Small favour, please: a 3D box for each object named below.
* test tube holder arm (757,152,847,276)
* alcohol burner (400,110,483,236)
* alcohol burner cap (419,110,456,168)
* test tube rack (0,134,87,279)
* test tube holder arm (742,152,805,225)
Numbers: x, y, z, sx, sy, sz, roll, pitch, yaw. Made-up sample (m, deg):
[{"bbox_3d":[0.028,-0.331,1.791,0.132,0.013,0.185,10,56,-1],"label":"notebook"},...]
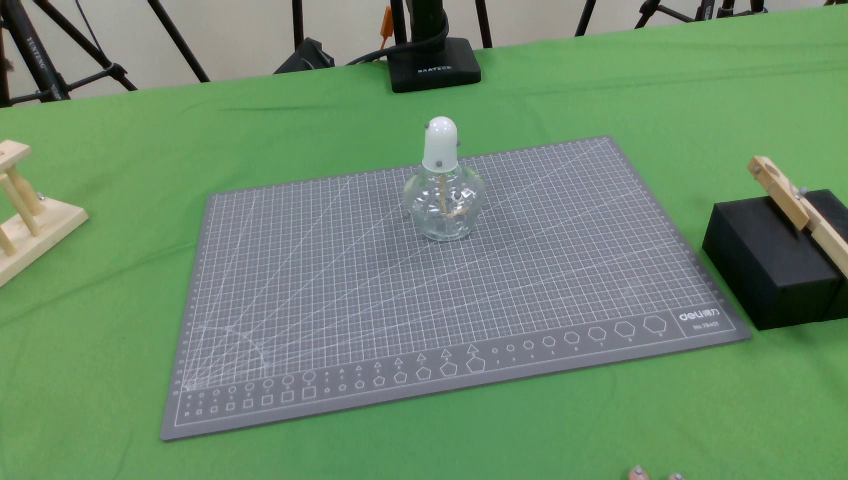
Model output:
[{"bbox_3d":[0.304,-0.014,0.474,0.013,0.015,0.176,-1,42,-8],"label":"test tube holder arm"},{"bbox_3d":[0.015,-0.063,0.553,0.078,0.120,0.077,-3,41,3],"label":"alcohol burner"},{"bbox_3d":[0.012,-0.089,0.528,0.034,0.048,0.033,1,42,-1],"label":"alcohol burner cap"},{"bbox_3d":[-0.440,0.008,0.546,0.066,0.086,0.241,15,46,21],"label":"test tube rack"},{"bbox_3d":[0.293,-0.044,0.506,0.010,0.015,0.087,-1,42,-8],"label":"test tube holder arm"}]
